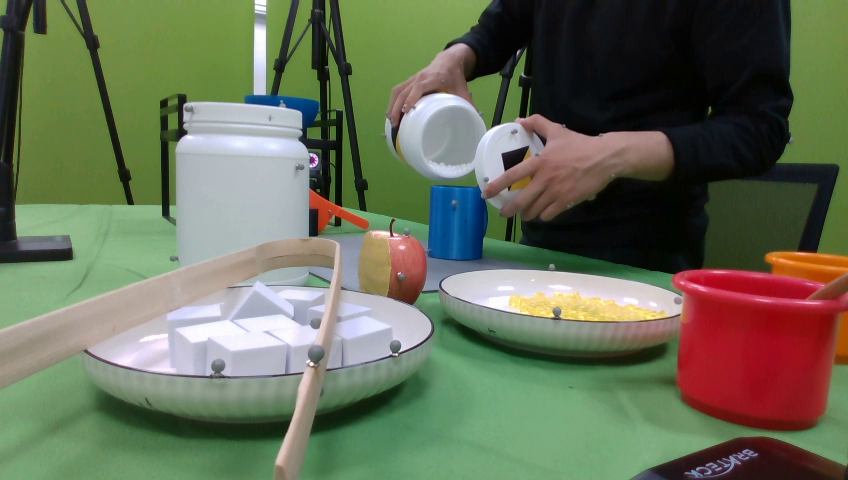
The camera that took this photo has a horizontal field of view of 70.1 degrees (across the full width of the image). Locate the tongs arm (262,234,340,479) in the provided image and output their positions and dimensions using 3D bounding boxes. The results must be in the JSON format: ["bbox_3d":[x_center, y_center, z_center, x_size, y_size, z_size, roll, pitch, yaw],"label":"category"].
[{"bbox_3d":[-0.074,0.039,0.349,0.051,0.026,0.384,-2,10,-3],"label":"tongs arm"}]

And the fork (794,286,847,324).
[{"bbox_3d":[0.332,0.018,0.443,0.028,0.018,0.207,-1,-36,-15],"label":"fork"}]

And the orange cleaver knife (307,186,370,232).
[{"bbox_3d":[-0.197,-0.056,1.141,0.212,0.077,0.012,29,0,-35],"label":"orange cleaver knife"}]

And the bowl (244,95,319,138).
[{"bbox_3d":[-0.293,-0.251,1.249,0.151,0.077,0.151,2,7,0],"label":"bowl"}]

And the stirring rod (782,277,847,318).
[{"bbox_3d":[0.344,0.019,0.461,0.014,0.006,0.176,-13,-27,-30],"label":"stirring rod"}]

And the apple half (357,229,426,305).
[{"bbox_3d":[-0.026,0.028,0.570,0.053,0.074,0.080,3,2,-28],"label":"apple half"}]

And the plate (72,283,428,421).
[{"bbox_3d":[-0.102,0.066,0.381,0.208,0.039,0.207,2,7,0],"label":"plate"}]

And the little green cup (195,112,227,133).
[{"bbox_3d":[-0.412,-0.227,1.171,0.061,0.038,0.061,3,8,0],"label":"little green cup"}]

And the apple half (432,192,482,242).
[{"bbox_3d":[0.048,-0.037,0.906,0.081,0.081,0.033,2,15,-1],"label":"apple half"}]

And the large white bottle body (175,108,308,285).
[{"bbox_3d":[-0.188,-0.042,0.630,0.131,0.184,0.130,2,8,0],"label":"large white bottle body"}]

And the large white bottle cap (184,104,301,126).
[{"bbox_3d":[-0.184,-0.126,0.618,0.115,0.018,0.115,2,8,0],"label":"large white bottle cap"}]

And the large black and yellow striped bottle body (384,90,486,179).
[{"bbox_3d":[0.017,-0.170,0.963,0.131,0.130,0.183,0,15,-17],"label":"large black and yellow striped bottle body"}]

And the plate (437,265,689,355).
[{"bbox_3d":[0.114,0.057,0.517,0.209,0.038,0.209,3,8,0],"label":"plate"}]

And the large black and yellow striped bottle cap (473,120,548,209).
[{"bbox_3d":[0.114,-0.098,0.781,0.115,0.115,0.018,-3,0,-33],"label":"large black and yellow striped bottle cap"}]

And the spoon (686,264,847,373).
[{"bbox_3d":[0.214,0.032,0.328,0.042,0.021,0.193,-3,-35,-26],"label":"spoon"}]

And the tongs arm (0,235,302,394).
[{"bbox_3d":[-0.157,0.038,0.351,0.028,0.028,0.388,-3,8,12],"label":"tongs arm"}]

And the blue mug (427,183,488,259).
[{"bbox_3d":[0.059,-0.031,0.907,0.082,0.106,0.117,9,10,42],"label":"blue mug"}]
